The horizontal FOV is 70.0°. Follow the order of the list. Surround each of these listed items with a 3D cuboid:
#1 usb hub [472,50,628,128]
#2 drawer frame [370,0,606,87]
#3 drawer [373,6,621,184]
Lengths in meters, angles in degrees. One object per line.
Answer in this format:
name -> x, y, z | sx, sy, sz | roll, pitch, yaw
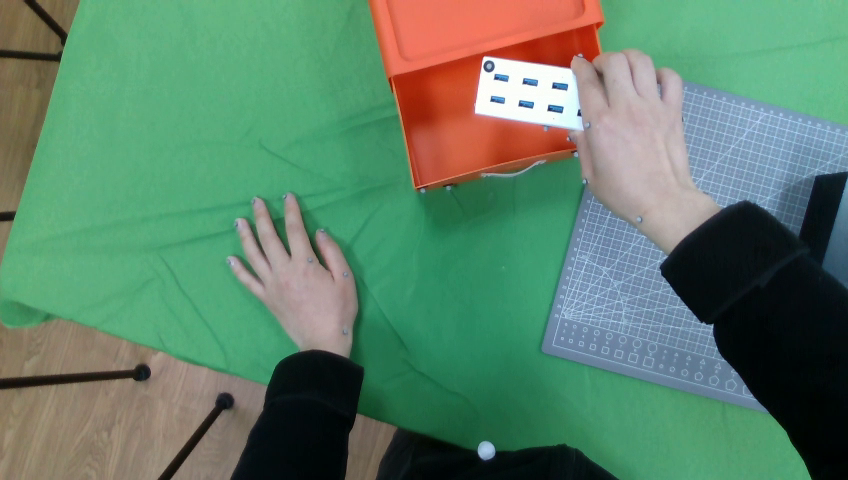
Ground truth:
usb hub -> 0.105, -0.129, 0.516 | 0.125, 0.025, 0.050 | 12, 108, 13
drawer frame -> 0.038, -0.273, 0.560 | 0.202, 0.082, 0.213 | -15, 92, 1
drawer -> 0.062, -0.172, 0.569 | 0.194, 0.073, 0.211 | -13, 92, 0
